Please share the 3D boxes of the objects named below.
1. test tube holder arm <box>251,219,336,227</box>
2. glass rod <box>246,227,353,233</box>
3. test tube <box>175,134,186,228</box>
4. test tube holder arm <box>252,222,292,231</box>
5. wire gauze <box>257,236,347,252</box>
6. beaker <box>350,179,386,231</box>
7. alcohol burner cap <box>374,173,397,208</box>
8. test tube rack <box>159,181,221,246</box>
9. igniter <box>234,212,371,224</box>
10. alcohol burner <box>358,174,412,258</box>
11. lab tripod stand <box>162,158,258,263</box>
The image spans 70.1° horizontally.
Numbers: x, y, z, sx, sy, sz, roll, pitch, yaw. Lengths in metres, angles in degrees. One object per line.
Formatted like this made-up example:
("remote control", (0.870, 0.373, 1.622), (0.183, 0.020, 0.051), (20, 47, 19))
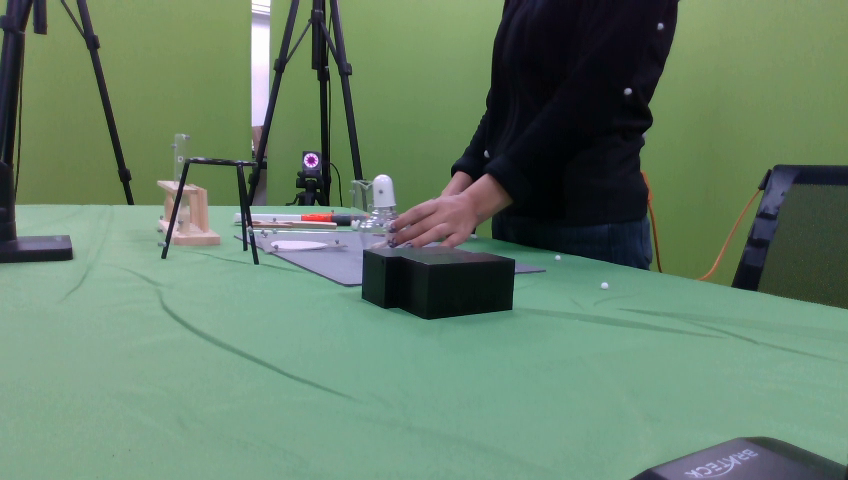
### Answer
("test tube holder arm", (-0.254, -0.031, 1.157), (0.179, 0.015, 0.013), (-3, 46, -31))
("glass rod", (-0.224, -0.017, 1.108), (0.201, 0.008, 0.008), (1, 7, -27))
("test tube", (-0.388, -0.093, 0.964), (0.017, 0.150, 0.017), (1, 2, 0))
("test tube holder arm", (-0.291, -0.026, 1.130), (0.088, 0.015, 0.010), (-2, 45, -30))
("wire gauze", (-0.190, 0.005, 0.931), (0.122, 0.011, 0.124), (1, 7, -21))
("beaker", (-0.111, -0.070, 1.204), (0.074, 0.100, 0.084), (2, 9, 0))
("alcohol burner cap", (-0.057, -0.070, 0.856), (0.034, 0.048, 0.034), (-5, 10, 1))
("test tube rack", (-0.395, -0.050, 1.010), (0.067, 0.085, 0.241), (-2, 8, -28))
("igniter", (-0.246, -0.045, 1.248), (0.278, 0.025, 0.057), (-1, -2, -25))
("alcohol burner", (-0.055, -0.035, 0.862), (0.078, 0.119, 0.078), (0, 10, 0))
("lab tripod stand", (-0.265, -0.041, 0.802), (0.148, 0.131, 0.148), (4, 7, 0))
